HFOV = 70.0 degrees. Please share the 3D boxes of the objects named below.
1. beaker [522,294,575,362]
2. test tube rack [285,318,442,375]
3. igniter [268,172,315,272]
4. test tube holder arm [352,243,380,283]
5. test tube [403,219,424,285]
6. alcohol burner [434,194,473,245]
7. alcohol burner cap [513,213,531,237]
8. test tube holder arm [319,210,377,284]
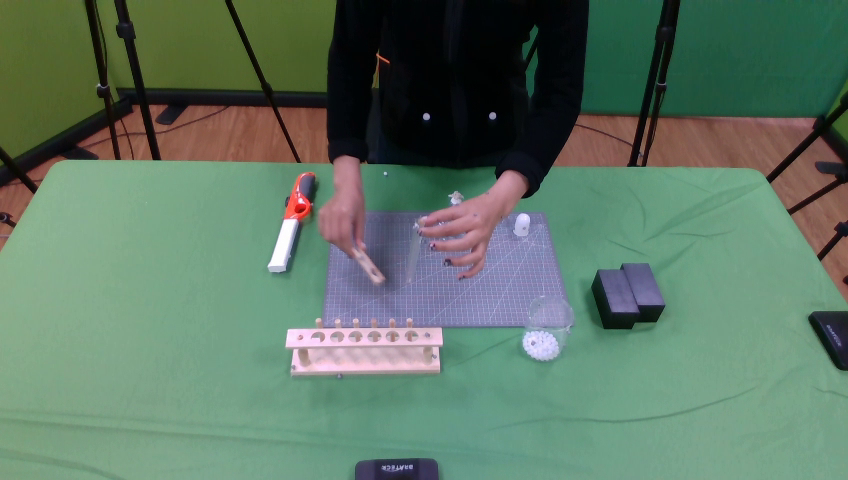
[{"bbox_3d":[0.203,0.152,1.013,0.084,0.101,0.073,-28,53,-26],"label":"beaker"},{"bbox_3d":[-0.095,0.168,0.986,0.242,0.085,0.066,0,46,-4],"label":"test tube rack"},{"bbox_3d":[-0.263,-0.045,1.219,0.057,0.025,0.275,-2,45,8],"label":"igniter"},{"bbox_3d":[-0.107,0.040,1.078,0.010,0.015,0.087,-27,64,-30],"label":"test tube holder arm"},{"bbox_3d":[-0.017,0.022,0.939,0.017,0.151,0.017,5,50,-6],"label":"test tube"},{"bbox_3d":[0.059,-0.046,1.179,0.078,0.120,0.077,1,48,-1],"label":"alcohol burner"},{"bbox_3d":[0.200,-0.033,1.227,0.034,0.048,0.033,1,45,-1],"label":"alcohol burner cap"},{"bbox_3d":[-0.139,0.011,1.092,0.013,0.015,0.177,-28,65,-30],"label":"test tube holder arm"}]
